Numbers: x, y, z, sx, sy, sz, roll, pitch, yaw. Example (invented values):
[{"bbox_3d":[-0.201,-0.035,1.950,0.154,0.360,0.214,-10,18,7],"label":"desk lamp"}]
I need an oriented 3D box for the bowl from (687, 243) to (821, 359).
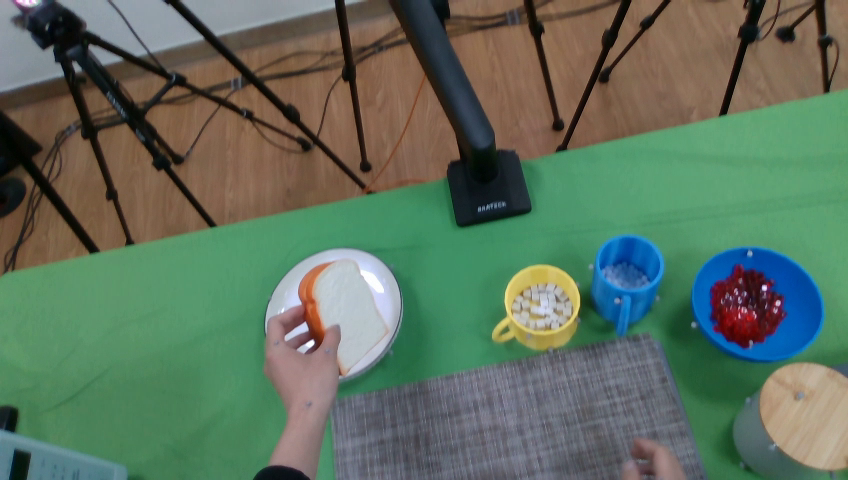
[{"bbox_3d":[0.409,0.087,0.774,0.151,0.077,0.150,-5,62,9],"label":"bowl"}]

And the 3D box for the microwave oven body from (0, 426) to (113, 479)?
[{"bbox_3d":[-0.558,0.463,0.646,0.326,0.262,0.437,-11,61,4],"label":"microwave oven body"}]

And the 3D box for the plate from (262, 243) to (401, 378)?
[{"bbox_3d":[-0.133,0.104,0.892,0.207,0.039,0.206,-4,62,8],"label":"plate"}]

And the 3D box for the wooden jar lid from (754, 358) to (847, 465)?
[{"bbox_3d":[0.399,0.177,0.627,0.108,0.021,0.107,-3,64,7],"label":"wooden jar lid"}]

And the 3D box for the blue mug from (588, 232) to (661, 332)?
[{"bbox_3d":[0.260,0.064,0.799,0.082,0.107,0.116,6,64,14],"label":"blue mug"}]

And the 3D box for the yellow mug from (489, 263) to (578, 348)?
[{"bbox_3d":[0.145,0.097,0.826,0.131,0.064,0.099,-31,60,-5],"label":"yellow mug"}]

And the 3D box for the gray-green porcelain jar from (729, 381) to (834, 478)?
[{"bbox_3d":[0.411,0.207,0.681,0.106,0.127,0.105,-4,61,8],"label":"gray-green porcelain jar"}]

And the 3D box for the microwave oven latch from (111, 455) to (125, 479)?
[{"bbox_3d":[-0.418,0.328,0.803,0.030,0.030,0.078,-11,61,5],"label":"microwave oven latch"}]
